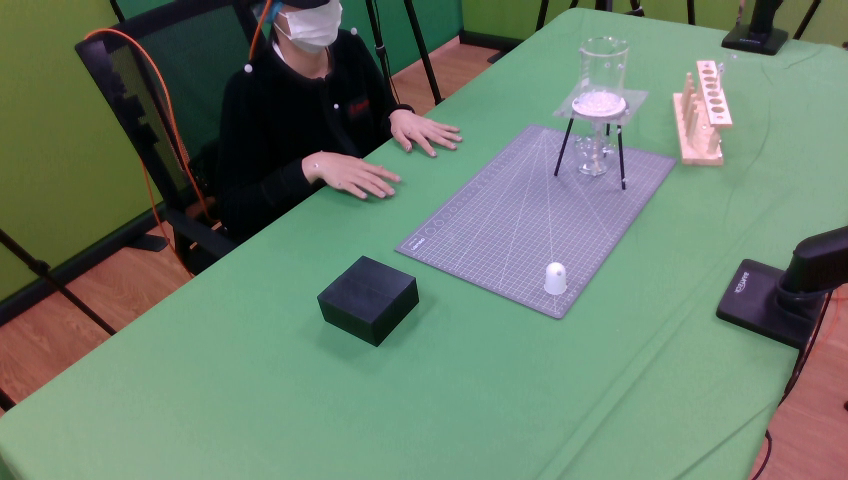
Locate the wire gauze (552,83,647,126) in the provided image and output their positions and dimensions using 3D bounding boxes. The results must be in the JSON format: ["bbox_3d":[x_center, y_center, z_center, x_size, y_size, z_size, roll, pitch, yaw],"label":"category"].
[{"bbox_3d":[0.293,-0.224,1.004,0.120,0.011,0.125,19,43,26],"label":"wire gauze"}]

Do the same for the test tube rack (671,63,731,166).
[{"bbox_3d":[0.513,-0.241,1.132,0.066,0.085,0.242,4,41,14],"label":"test tube rack"}]

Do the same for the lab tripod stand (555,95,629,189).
[{"bbox_3d":[0.300,-0.174,1.045,0.148,0.132,0.147,-5,38,5],"label":"lab tripod stand"}]

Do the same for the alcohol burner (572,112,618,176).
[{"bbox_3d":[0.301,-0.173,1.058,0.078,0.119,0.077,-3,41,4],"label":"alcohol burner"}]

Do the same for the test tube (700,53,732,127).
[{"bbox_3d":[0.521,-0.265,1.081,0.017,0.151,0.017,-3,47,3],"label":"test tube"}]

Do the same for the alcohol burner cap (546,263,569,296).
[{"bbox_3d":[0.191,0.053,0.862,0.034,0.048,0.033,-5,40,4],"label":"alcohol burner cap"}]

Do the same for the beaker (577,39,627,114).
[{"bbox_3d":[0.286,-0.264,0.976,0.073,0.100,0.084,25,49,33],"label":"beaker"}]
